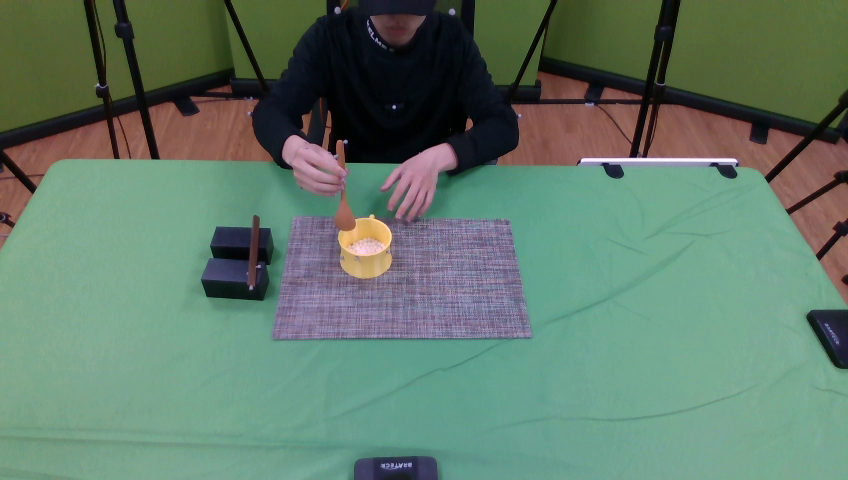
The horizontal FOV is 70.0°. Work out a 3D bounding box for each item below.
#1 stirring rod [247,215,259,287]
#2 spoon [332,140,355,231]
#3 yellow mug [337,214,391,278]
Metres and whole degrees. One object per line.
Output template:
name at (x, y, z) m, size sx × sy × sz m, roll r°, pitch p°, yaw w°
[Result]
stirring rod at (-0.309, 0.016, 1.097) m, size 0.014 × 0.006 × 0.175 m, roll 25°, pitch 36°, yaw -31°
spoon at (-0.143, -0.090, 1.051) m, size 0.041 × 0.194 × 0.021 m, roll 5°, pitch 37°, yaw 4°
yellow mug at (-0.110, 0.003, 1.152) m, size 0.100 × 0.064 × 0.130 m, roll 7°, pitch 45°, yaw 2°
